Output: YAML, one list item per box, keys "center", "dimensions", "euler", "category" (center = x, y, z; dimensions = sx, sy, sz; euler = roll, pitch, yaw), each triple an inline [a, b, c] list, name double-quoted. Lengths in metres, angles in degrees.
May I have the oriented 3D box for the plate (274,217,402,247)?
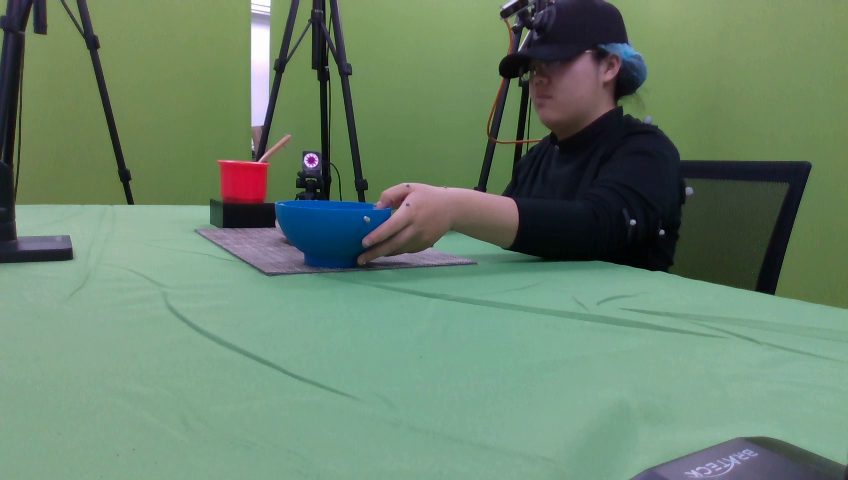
- center: [-0.140, -0.015, 0.993]
  dimensions: [0.208, 0.039, 0.207]
  euler: [3, 7, 0]
  category: "plate"

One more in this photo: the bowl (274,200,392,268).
- center: [-0.117, -0.008, 0.781]
  dimensions: [0.151, 0.077, 0.151]
  euler: [3, 7, 0]
  category: "bowl"

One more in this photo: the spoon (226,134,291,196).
- center: [-0.320, -0.149, 1.187]
  dimensions: [0.041, 0.022, 0.194]
  euler: [9, 53, 36]
  category: "spoon"
